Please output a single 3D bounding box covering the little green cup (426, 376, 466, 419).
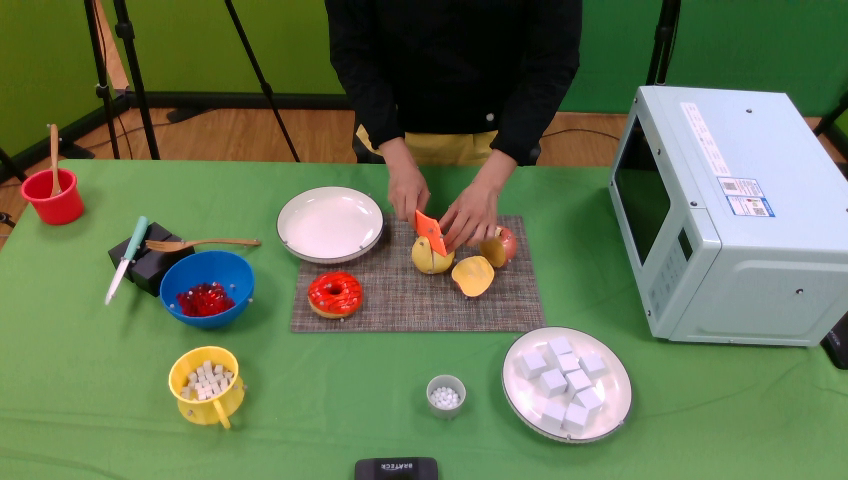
[{"bbox_3d":[0.033,0.248,0.950,0.061,0.039,0.061,2,46,-2],"label":"little green cup"}]

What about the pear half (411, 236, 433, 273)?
[{"bbox_3d":[-0.007,0.028,1.121,0.031,0.088,0.070,-22,57,-15],"label":"pear half"}]

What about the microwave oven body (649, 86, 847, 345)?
[{"bbox_3d":[0.568,-0.053,1.118,0.326,0.261,0.439,2,45,-1],"label":"microwave oven body"}]

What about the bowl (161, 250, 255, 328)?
[{"bbox_3d":[-0.362,0.097,1.040,0.151,0.077,0.150,2,45,-2],"label":"bowl"}]

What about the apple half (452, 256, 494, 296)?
[{"bbox_3d":[0.095,0.070,1.120,0.081,0.033,0.081,-7,62,13],"label":"apple half"}]

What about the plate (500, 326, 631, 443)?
[{"bbox_3d":[0.224,0.234,0.978,0.208,0.039,0.206,2,46,-2],"label":"plate"}]

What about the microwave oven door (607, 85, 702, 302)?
[{"bbox_3d":[0.423,-0.094,1.140,0.039,0.245,0.353,2,46,-1],"label":"microwave oven door"}]

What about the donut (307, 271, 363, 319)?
[{"bbox_3d":[-0.157,0.097,1.073,0.099,0.048,0.098,4,45,-4],"label":"donut"}]

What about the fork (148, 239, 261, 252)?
[{"bbox_3d":[-0.399,0.007,1.118,0.208,0.019,0.028,-4,36,-37],"label":"fork"}]

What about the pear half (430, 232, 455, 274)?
[{"bbox_3d":[0.031,0.010,1.124,0.056,0.110,0.076,-15,54,-19],"label":"pear half"}]

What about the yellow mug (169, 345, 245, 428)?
[{"bbox_3d":[-0.322,0.230,0.922,0.100,0.064,0.130,-24,53,-25],"label":"yellow mug"}]

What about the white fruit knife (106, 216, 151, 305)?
[{"bbox_3d":[-0.519,0.032,1.066,0.027,0.016,0.206,-18,45,19],"label":"white fruit knife"}]

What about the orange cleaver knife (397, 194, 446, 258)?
[{"bbox_3d":[-0.006,-0.029,1.117,0.012,0.077,0.210,-18,27,-16],"label":"orange cleaver knife"}]

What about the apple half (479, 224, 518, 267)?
[{"bbox_3d":[0.148,0.008,1.160,0.053,0.075,0.080,-24,48,-30],"label":"apple half"}]

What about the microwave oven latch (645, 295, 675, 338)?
[{"bbox_3d":[0.412,0.134,1.061,0.030,0.029,0.078,3,45,0],"label":"microwave oven latch"}]

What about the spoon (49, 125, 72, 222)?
[{"bbox_3d":[-0.717,-0.131,1.189,0.042,0.021,0.193,-3,90,-8],"label":"spoon"}]

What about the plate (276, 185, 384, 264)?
[{"bbox_3d":[-0.184,-0.027,1.195,0.209,0.038,0.208,2,46,-2],"label":"plate"}]
